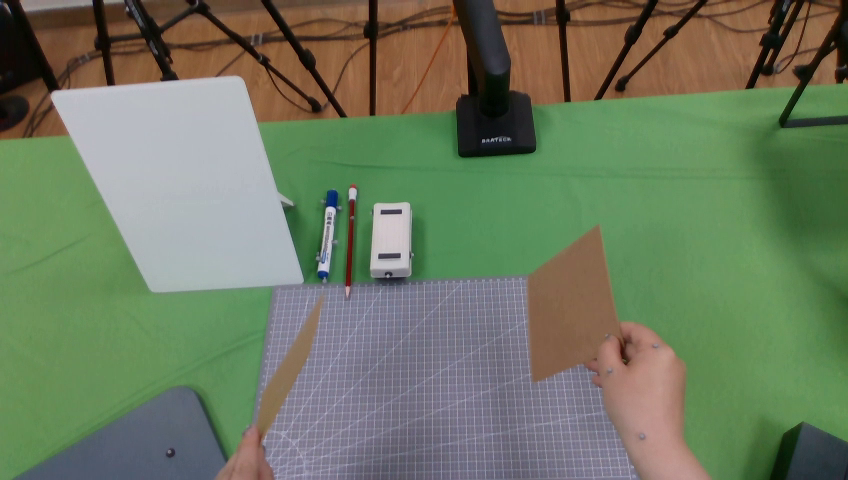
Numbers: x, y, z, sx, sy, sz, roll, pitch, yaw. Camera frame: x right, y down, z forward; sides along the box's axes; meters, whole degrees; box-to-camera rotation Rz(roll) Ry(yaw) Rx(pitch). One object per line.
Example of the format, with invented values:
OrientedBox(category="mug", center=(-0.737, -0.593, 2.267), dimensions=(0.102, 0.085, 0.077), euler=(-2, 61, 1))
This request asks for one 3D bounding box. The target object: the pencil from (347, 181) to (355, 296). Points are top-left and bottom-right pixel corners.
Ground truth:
OrientedBox(category="pencil", center=(-0.105, -0.006, 0.866), dimensions=(0.012, 0.012, 0.192), euler=(-5, 58, 3))

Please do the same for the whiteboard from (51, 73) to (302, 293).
OrientedBox(category="whiteboard", center=(-0.285, -0.093, 0.799), dimensions=(0.217, 0.308, 0.142), euler=(-3, 39, 4))

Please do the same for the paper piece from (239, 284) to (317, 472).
OrientedBox(category="paper piece", center=(-0.134, 0.120, 0.561), dimensions=(0.004, 0.135, 0.134), euler=(25, 17, -13))

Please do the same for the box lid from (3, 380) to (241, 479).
OrientedBox(category="box lid", center=(-0.311, 0.357, 0.663), dimensions=(0.263, 0.015, 0.368), euler=(-30, 61, -13))

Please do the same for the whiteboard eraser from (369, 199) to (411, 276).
OrientedBox(category="whiteboard eraser", center=(-0.047, -0.004, 0.842), dimensions=(0.055, 0.042, 0.111), euler=(-4, 59, 5))

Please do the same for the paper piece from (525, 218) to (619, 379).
OrientedBox(category="paper piece", center=(0.148, 0.064, 0.639), dimensions=(0.009, 0.136, 0.137), euler=(13, 57, -21))

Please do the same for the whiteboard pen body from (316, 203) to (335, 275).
OrientedBox(category="whiteboard pen body", center=(-0.140, -0.013, 0.870), dimensions=(0.017, 0.017, 0.139), euler=(-2, 58, 5))

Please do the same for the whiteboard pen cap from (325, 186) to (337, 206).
OrientedBox(category="whiteboard pen cap", center=(-0.138, -0.063, 0.899), dimensions=(0.018, 0.018, 0.033), euler=(-4, 57, 3))
